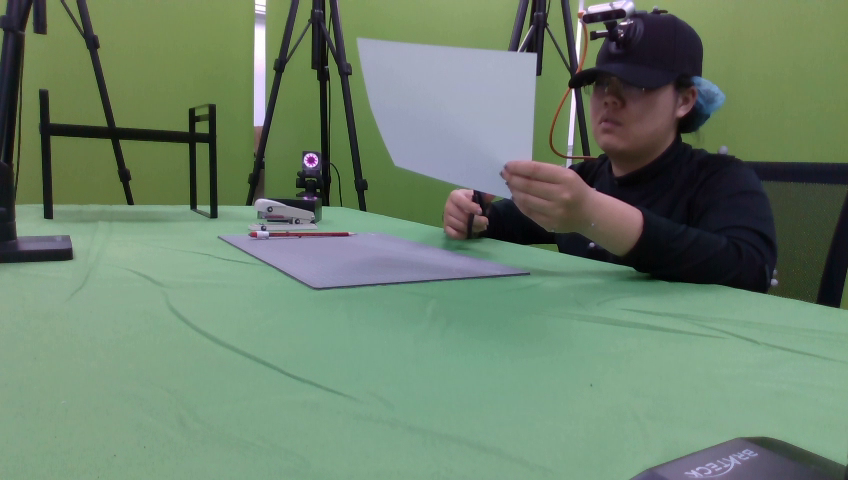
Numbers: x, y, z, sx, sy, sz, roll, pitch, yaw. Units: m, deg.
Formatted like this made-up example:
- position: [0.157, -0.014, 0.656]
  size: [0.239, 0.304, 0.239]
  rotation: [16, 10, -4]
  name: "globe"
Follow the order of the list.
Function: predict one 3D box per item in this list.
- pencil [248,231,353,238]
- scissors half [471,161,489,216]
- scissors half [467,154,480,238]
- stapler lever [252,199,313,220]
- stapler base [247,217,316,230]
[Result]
- position: [-0.206, -0.009, 1.039]
  size: [0.195, 0.012, 0.012]
  rotation: [0, 8, -36]
  name: "pencil"
- position: [0.087, -0.083, 0.957]
  size: [0.013, 0.040, 0.175]
  rotation: [19, -13, 18]
  name: "scissors half"
- position: [0.078, -0.065, 0.947]
  size: [0.013, 0.175, 0.040]
  rotation: [15, 49, 16]
  name: "scissors half"
- position: [-0.273, -0.058, 1.170]
  size: [0.119, 0.040, 0.026]
  rotation: [0, 10, -37]
  name: "stapler lever"
- position: [-0.276, -0.033, 1.172]
  size: [0.131, 0.024, 0.041]
  rotation: [0, 10, -37]
  name: "stapler base"
